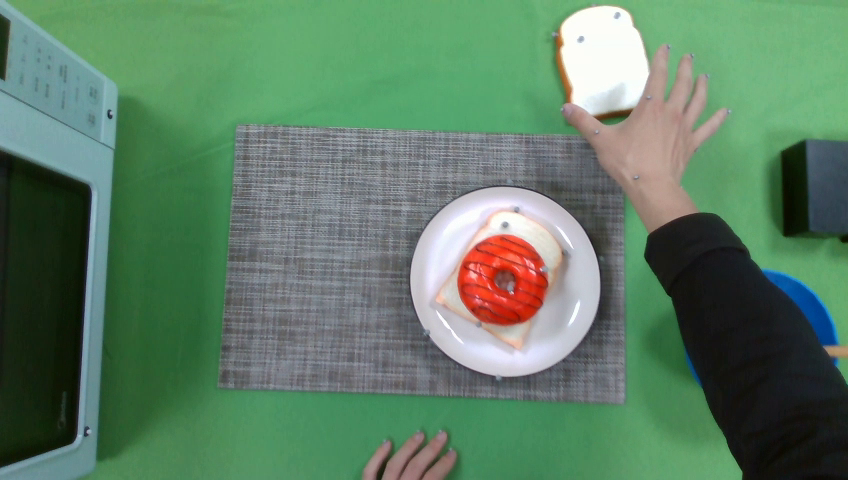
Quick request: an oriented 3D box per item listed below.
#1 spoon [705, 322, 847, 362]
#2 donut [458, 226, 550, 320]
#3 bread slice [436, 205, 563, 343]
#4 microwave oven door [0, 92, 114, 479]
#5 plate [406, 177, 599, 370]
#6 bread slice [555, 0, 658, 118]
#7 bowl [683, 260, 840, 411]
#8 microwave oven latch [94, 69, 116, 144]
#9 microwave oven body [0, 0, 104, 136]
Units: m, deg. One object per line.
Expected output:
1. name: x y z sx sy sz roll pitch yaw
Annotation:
1. spoon: 0.387 0.102 0.607 0.193 0.022 0.041 -4 75 22
2. donut: 0.084 0.035 0.638 0.099 0.048 0.099 0 84 2
3. bread slice: 0.088 0.030 0.669 0.107 0.018 0.134 27 88 4
4. microwave oven door: -0.369 0.057 0.555 0.039 0.244 0.355 -1 84 1
5. plate: 0.084 0.037 0.666 0.208 0.039 0.207 0 84 1
6. bread slice: 0.206 -0.214 0.705 0.105 0.019 0.131 -12 85 -2
7. bowl: 0.339 0.099 0.640 0.151 0.077 0.151 0 83 1
8. microwave oven latch: -0.364 -0.149 0.678 0.030 0.029 0.079 0 85 0
9. microwave oven body: -0.515 0.016 0.566 0.326 0.260 0.440 0 85 0
